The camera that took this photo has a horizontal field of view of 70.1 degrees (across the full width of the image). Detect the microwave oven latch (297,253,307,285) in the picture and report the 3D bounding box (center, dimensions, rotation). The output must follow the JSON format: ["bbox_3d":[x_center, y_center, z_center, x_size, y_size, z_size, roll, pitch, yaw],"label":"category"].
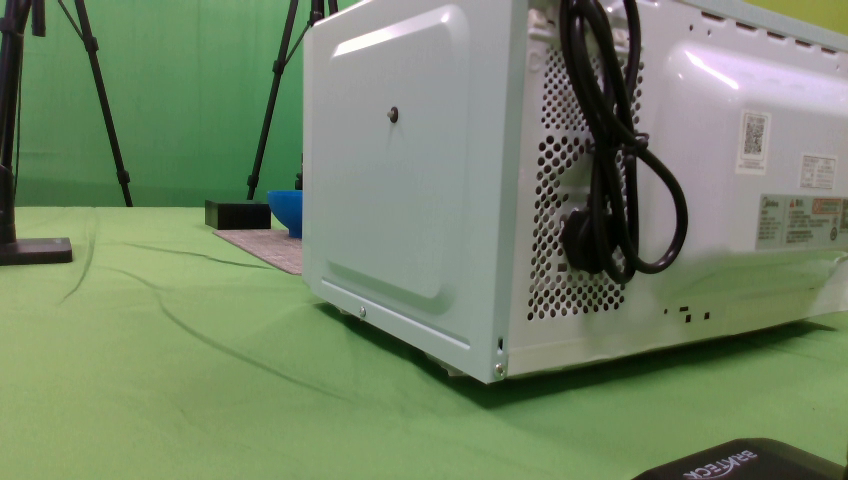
[{"bbox_3d":[-0.082,0.027,0.583,0.079,0.029,0.030,-1,8,-33],"label":"microwave oven latch"}]

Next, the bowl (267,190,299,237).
[{"bbox_3d":[-0.202,-0.046,1.070,0.151,0.077,0.151,3,7,0],"label":"bowl"}]

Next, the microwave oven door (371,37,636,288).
[{"bbox_3d":[0.109,-0.080,0.687,0.358,0.243,0.039,-2,9,-33],"label":"microwave oven door"}]

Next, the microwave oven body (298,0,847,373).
[{"bbox_3d":[0.151,-0.055,0.543,0.444,0.260,0.324,-1,7,-33],"label":"microwave oven body"}]
